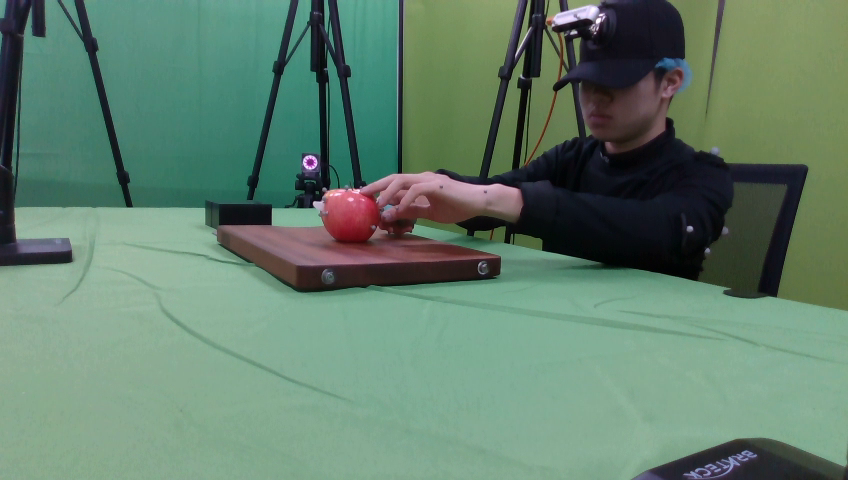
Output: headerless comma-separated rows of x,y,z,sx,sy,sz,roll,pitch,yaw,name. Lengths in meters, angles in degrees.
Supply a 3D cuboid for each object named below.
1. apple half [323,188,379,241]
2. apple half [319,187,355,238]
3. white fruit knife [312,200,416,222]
-0.094,-0.034,0.841,0.053,0.074,0.081,15,10,41,apple half
-0.125,-0.039,0.867,0.032,0.081,0.082,6,8,41,apple half
-0.082,-0.046,0.892,0.016,0.027,0.208,8,3,41,white fruit knife
